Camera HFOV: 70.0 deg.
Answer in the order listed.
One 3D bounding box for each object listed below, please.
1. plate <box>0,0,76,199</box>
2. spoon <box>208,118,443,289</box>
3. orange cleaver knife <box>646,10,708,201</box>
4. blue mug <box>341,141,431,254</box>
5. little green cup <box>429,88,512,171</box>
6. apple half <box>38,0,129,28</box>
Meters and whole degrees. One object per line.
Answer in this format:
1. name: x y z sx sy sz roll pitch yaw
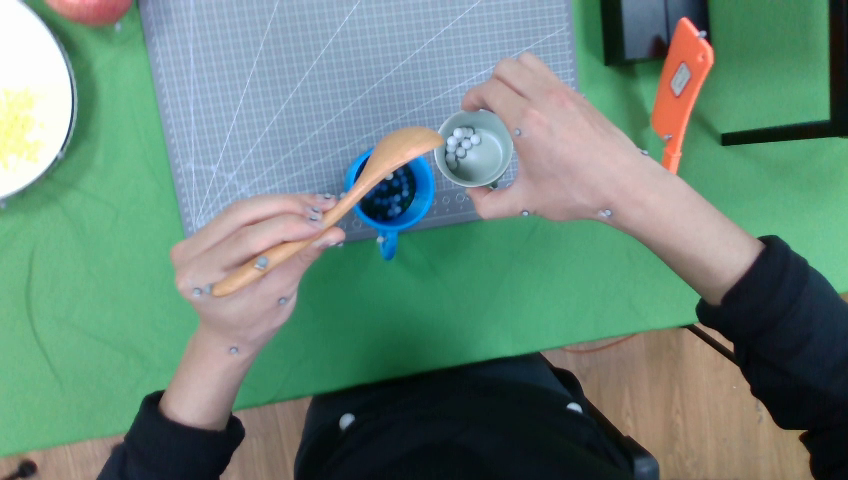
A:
1. plate: -0.439 -0.138 0.573 0.209 0.038 0.209 -1 98 -10
2. spoon: -0.054 -0.029 0.379 0.193 0.041 0.022 -46 140 -30
3. orange cleaver knife: 0.271 -0.143 0.676 0.012 0.076 0.213 -11 130 -9
4. blue mug: -0.042 -0.044 0.621 0.082 0.105 0.117 -2 97 -10
5. little green cup: 0.038 -0.082 0.469 0.061 0.039 0.061 -1 88 22
6. apple half: -0.313 -0.227 0.566 0.081 0.074 0.053 -25 105 -9
